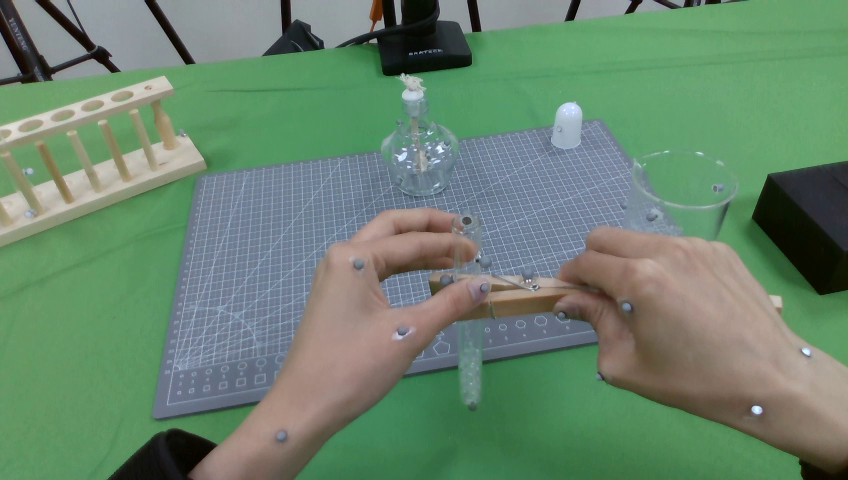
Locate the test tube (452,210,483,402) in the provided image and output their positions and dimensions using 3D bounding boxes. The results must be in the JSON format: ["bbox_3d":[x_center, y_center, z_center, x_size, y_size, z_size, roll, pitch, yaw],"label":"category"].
[{"bbox_3d":[0.026,0.046,0.350,0.017,0.151,0.017,-3,40,2],"label":"test tube"}]

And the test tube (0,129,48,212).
[{"bbox_3d":[-0.387,-0.087,0.552,0.017,0.152,0.017,-3,42,3],"label":"test tube"}]

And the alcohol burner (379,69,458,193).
[{"bbox_3d":[-0.007,-0.106,0.582,0.078,0.120,0.077,-3,42,3],"label":"alcohol burner"}]

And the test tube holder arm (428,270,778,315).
[{"bbox_3d":[0.089,0.027,0.324,0.178,0.015,0.013,2,47,14],"label":"test tube holder arm"}]

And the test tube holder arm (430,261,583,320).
[{"bbox_3d":[0.045,0.027,0.333,0.087,0.015,0.010,11,51,22],"label":"test tube holder arm"}]

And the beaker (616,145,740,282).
[{"bbox_3d":[0.192,-0.015,0.481,0.074,0.101,0.083,-30,48,-25],"label":"beaker"}]

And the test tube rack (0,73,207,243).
[{"bbox_3d":[-0.357,-0.081,0.608,0.242,0.086,0.066,-26,47,-21],"label":"test tube rack"}]

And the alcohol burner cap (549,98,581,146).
[{"bbox_3d":[0.152,-0.128,0.645,0.034,0.048,0.033,-2,43,2],"label":"alcohol burner cap"}]
